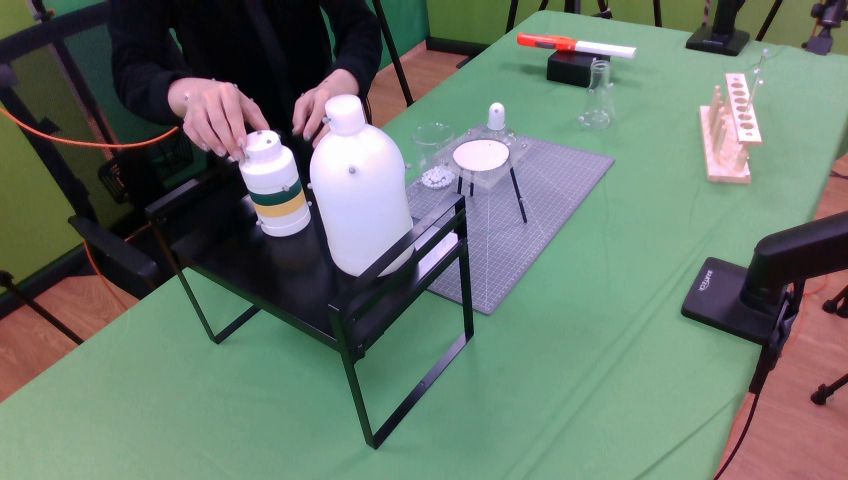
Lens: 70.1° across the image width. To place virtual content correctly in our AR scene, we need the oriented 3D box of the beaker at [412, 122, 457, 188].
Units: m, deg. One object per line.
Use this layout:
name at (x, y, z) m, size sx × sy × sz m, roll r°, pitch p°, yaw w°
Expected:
beaker at (0.022, -0.153, 1.088) m, size 0.073 × 0.100 × 0.084 m, roll 13°, pitch 44°, yaw 21°

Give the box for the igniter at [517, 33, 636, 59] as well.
igniter at (0.336, -0.441, 1.369) m, size 0.275 × 0.025 × 0.057 m, roll 16°, pitch 41°, yaw 23°

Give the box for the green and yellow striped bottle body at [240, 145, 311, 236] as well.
green and yellow striped bottle body at (-0.181, -0.068, 0.729) m, size 0.063 × 0.120 × 0.063 m, roll -4°, pitch 40°, yaw 4°

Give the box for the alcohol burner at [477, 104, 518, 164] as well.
alcohol burner at (0.135, -0.200, 1.117) m, size 0.078 × 0.119 × 0.077 m, roll -4°, pitch 43°, yaw 4°

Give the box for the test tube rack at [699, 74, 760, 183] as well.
test tube rack at (0.547, -0.208, 1.095) m, size 0.066 × 0.085 × 0.242 m, roll 6°, pitch 42°, yaw 15°

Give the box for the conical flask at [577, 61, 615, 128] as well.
conical flask at (0.343, -0.288, 1.188) m, size 0.075 × 0.122 × 0.075 m, roll -4°, pitch 41°, yaw 4°

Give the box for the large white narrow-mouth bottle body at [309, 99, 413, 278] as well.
large white narrow-mouth bottle body at (-0.068, -0.057, 0.644) m, size 0.102 × 0.195 × 0.101 m, roll -3°, pitch 42°, yaw 4°

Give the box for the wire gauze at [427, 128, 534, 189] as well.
wire gauze at (0.086, -0.131, 0.924) m, size 0.124 × 0.011 × 0.122 m, roll 26°, pitch 52°, yaw 33°

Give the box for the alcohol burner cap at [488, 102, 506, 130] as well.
alcohol burner cap at (0.133, -0.227, 1.092) m, size 0.034 × 0.048 × 0.033 m, roll -1°, pitch 47°, yaw 2°

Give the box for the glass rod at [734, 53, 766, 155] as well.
glass rod at (0.541, -0.220, 1.007) m, size 0.008 × 0.201 × 0.008 m, roll -5°, pitch 45°, yaw 6°

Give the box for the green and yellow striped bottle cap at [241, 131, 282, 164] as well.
green and yellow striped bottle cap at (-0.187, -0.107, 0.695) m, size 0.045 × 0.020 × 0.045 m, roll -3°, pitch 39°, yaw 3°

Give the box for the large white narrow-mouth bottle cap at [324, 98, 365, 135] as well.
large white narrow-mouth bottle cap at (-0.076, -0.120, 0.585) m, size 0.038 × 0.024 × 0.037 m, roll -3°, pitch 42°, yaw 3°

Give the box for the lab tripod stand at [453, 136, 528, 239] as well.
lab tripod stand at (0.095, -0.086, 0.974) m, size 0.148 × 0.132 × 0.147 m, roll -4°, pitch 43°, yaw 4°
